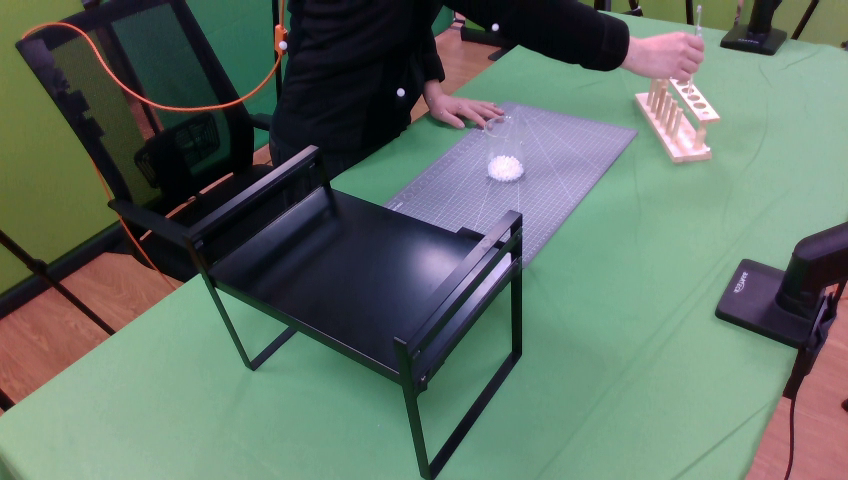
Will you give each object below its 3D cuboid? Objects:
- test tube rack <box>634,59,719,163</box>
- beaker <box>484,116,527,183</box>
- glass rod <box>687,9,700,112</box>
[{"bbox_3d":[0.471,-0.250,1.148,0.067,0.085,0.241,-6,40,3],"label":"test tube rack"},{"bbox_3d":[0.147,-0.161,1.079,0.073,0.101,0.084,13,44,22],"label":"beaker"},{"bbox_3d":[0.463,-0.303,1.040,0.008,0.201,0.008,-9,45,10],"label":"glass rod"}]
